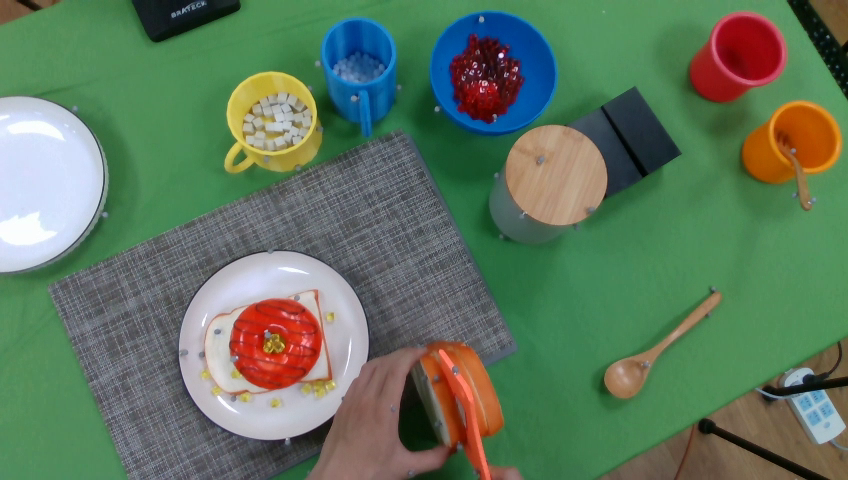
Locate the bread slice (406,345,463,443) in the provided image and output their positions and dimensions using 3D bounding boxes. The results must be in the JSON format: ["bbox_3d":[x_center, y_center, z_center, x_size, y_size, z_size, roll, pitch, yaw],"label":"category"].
[{"bbox_3d":[0.010,0.159,0.642,0.018,0.134,0.106,-21,80,-10],"label":"bread slice"}]

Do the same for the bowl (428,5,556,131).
[{"bbox_3d":[0.077,-0.195,0.734,0.151,0.077,0.151,1,81,-4],"label":"bowl"}]

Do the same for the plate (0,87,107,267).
[{"bbox_3d":[-0.465,-0.070,0.690,0.208,0.039,0.207,1,80,-4],"label":"plate"}]

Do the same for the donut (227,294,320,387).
[{"bbox_3d":[-0.161,0.107,0.652,0.099,0.048,0.098,1,81,-8],"label":"donut"}]

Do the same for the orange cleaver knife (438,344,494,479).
[{"bbox_3d":[0.048,0.201,0.594,0.012,0.076,0.212,-20,110,-13],"label":"orange cleaver knife"}]

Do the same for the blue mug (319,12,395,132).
[{"bbox_3d":[-0.075,-0.185,0.707,0.082,0.106,0.116,-6,81,-5],"label":"blue mug"}]

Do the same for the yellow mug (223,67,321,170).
[{"bbox_3d":[-0.185,-0.131,0.708,0.100,0.064,0.130,42,81,4],"label":"yellow mug"}]

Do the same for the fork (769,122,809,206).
[{"bbox_3d":[0.428,-0.093,0.708,0.028,0.019,0.206,37,36,-4],"label":"fork"}]

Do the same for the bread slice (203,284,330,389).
[{"bbox_3d":[-0.179,0.114,0.682,0.132,0.019,0.104,-13,81,-10],"label":"bread slice"}]

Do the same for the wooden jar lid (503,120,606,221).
[{"bbox_3d":[0.134,-0.071,0.629,0.108,0.021,0.108,1,82,-7],"label":"wooden jar lid"}]

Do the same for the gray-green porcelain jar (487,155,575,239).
[{"bbox_3d":[0.130,-0.059,0.691,0.106,0.127,0.105,1,80,-4],"label":"gray-green porcelain jar"}]

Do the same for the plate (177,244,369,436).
[{"bbox_3d":[-0.165,0.110,0.680,0.209,0.038,0.208,1,80,-4],"label":"plate"}]

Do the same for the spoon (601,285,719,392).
[{"bbox_3d":[0.289,0.115,0.727,0.193,0.022,0.041,-37,67,-9],"label":"spoon"}]
